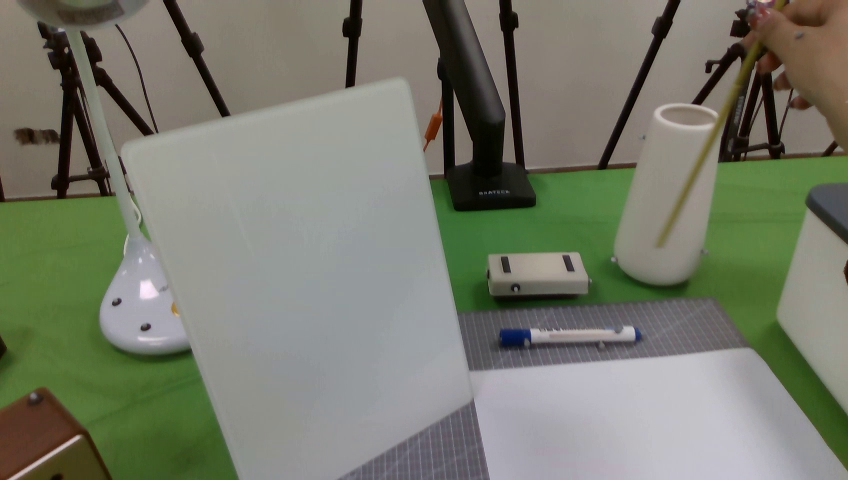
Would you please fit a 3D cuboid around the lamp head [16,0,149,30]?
[{"bbox_3d":[-0.273,-0.236,0.451,0.112,0.113,0.122,-28,67,-33],"label":"lamp head"}]

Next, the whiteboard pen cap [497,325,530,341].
[{"bbox_3d":[0.094,0.098,0.634,0.033,0.018,0.018,0,34,-2],"label":"whiteboard pen cap"}]

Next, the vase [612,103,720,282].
[{"bbox_3d":[0.277,-0.049,0.689,0.098,0.201,0.097,0,35,0],"label":"vase"}]

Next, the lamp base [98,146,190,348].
[{"bbox_3d":[-0.292,-0.003,0.650,0.178,0.182,0.160,21,40,32],"label":"lamp base"}]

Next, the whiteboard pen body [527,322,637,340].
[{"bbox_3d":[0.153,0.096,0.636,0.141,0.017,0.017,-2,34,-1],"label":"whiteboard pen body"}]

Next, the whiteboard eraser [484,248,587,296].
[{"bbox_3d":[0.128,0.038,0.703,0.113,0.042,0.055,-3,32,-1],"label":"whiteboard eraser"}]

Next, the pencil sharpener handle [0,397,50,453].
[{"bbox_3d":[-0.322,0.143,0.479,0.030,0.068,0.036,24,50,33],"label":"pencil sharpener handle"}]

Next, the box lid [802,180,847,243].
[{"bbox_3d":[0.496,0.044,0.445,0.263,0.015,0.368,-2,34,-2],"label":"box lid"}]

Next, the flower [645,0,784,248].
[{"bbox_3d":[0.233,-0.143,0.414,0.044,0.364,0.038,14,31,-6],"label":"flower"}]

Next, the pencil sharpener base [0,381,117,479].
[{"bbox_3d":[-0.284,0.172,0.458,0.076,0.108,0.061,24,42,33],"label":"pencil sharpener base"}]

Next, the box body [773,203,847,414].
[{"bbox_3d":[0.499,0.105,0.490,0.254,0.162,0.360,-3,34,-2],"label":"box body"}]

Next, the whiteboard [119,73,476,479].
[{"bbox_3d":[-0.106,0.033,0.531,0.217,0.307,0.142,-22,20,-26],"label":"whiteboard"}]
